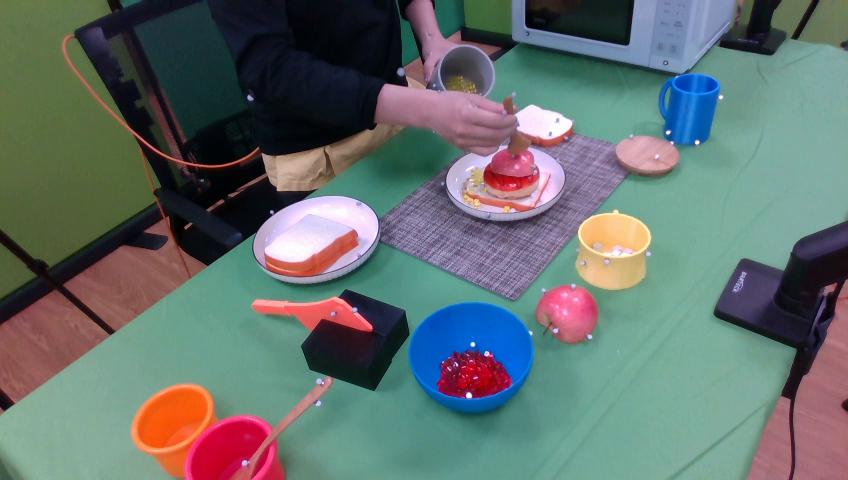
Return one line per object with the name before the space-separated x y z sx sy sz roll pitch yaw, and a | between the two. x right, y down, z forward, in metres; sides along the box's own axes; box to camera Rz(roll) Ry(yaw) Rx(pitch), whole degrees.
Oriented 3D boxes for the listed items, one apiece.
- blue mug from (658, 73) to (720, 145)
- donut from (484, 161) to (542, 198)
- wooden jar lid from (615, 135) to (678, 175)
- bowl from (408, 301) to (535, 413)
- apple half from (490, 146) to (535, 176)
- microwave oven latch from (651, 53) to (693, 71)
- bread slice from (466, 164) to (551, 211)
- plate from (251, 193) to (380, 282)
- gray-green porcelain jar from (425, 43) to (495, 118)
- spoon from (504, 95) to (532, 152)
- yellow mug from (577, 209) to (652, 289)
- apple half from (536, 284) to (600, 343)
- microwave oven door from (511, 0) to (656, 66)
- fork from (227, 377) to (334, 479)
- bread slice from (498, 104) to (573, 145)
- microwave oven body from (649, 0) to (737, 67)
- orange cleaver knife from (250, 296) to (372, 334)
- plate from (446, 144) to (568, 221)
blue mug | 0.483 -0.250 1.127 0.082 0.106 0.115 -25 44 -19
donut | 0.149 -0.109 1.016 0.099 0.048 0.098 -4 40 4
wooden jar lid | 0.398 -0.151 1.086 0.108 0.021 0.108 -1 42 2
bowl | 0.059 0.156 0.739 0.151 0.077 0.150 -4 40 4
apple half | 0.147 -0.138 0.993 0.081 0.033 0.081 1 38 0
microwave oven latch | 0.532 -0.386 1.301 0.078 0.029 0.030 27 52 34
bread slice | 0.141 -0.092 1.042 0.133 0.018 0.107 10 43 19
plate | -0.174 -0.001 0.984 0.209 0.038 0.208 -4 41 4
gray-green porcelain jar | 0.061 -0.287 1.112 0.106 0.105 0.126 -19 0 -13
spoon | 0.131 -0.167 0.879 0.041 0.195 0.021 -19 71 10
yellow mug | 0.279 0.004 0.893 0.099 0.064 0.130 5 41 14
apple half | 0.196 0.091 0.815 0.075 0.053 0.080 -22 42 -20
microwave oven door | 0.351 -0.540 1.349 0.353 0.245 0.039 24 50 31
fork | -0.163 0.216 0.647 0.207 0.019 0.028 -49 41 16
bread slice | 0.231 -0.231 1.205 0.105 0.019 0.130 -36 47 -29
microwave oven body | 0.475 -0.602 1.411 0.438 0.261 0.327 23 50 32
orange cleaver knife | -0.158 0.103 0.828 0.210 0.078 0.012 -4 43 39
plate | 0.142 -0.097 1.045 0.207 0.039 0.206 -4 40 4
